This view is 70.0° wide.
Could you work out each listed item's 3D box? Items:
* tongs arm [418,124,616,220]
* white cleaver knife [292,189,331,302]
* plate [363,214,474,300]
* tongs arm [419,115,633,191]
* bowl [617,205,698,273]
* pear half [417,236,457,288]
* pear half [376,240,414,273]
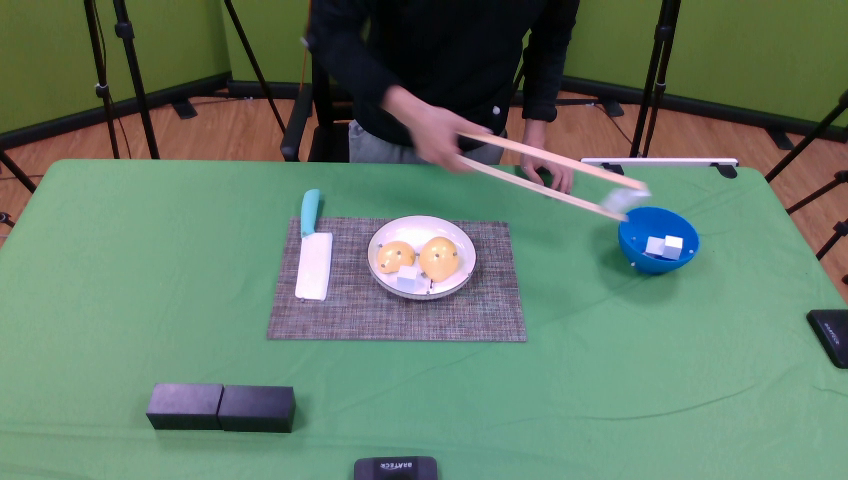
[{"bbox_3d":[0.169,-0.125,1.089,0.384,0.051,0.026,20,41,7],"label":"tongs arm"},{"bbox_3d":[-0.215,0.006,1.178,0.066,0.021,0.284,5,49,-12],"label":"white cleaver knife"},{"bbox_3d":[-0.010,0.036,1.146,0.208,0.039,0.206,3,46,-2],"label":"plate"},{"bbox_3d":[0.177,-0.154,1.064,0.387,0.028,0.027,20,45,7],"label":"tongs arm"},{"bbox_3d":[0.444,0.011,1.182,0.151,0.077,0.150,2,46,-2],"label":"bowl"},{"bbox_3d":[0.022,0.039,1.127,0.076,0.056,0.109,5,50,7],"label":"pear half"},{"bbox_3d":[-0.058,0.026,1.146,0.070,0.031,0.088,22,43,22],"label":"pear half"}]
